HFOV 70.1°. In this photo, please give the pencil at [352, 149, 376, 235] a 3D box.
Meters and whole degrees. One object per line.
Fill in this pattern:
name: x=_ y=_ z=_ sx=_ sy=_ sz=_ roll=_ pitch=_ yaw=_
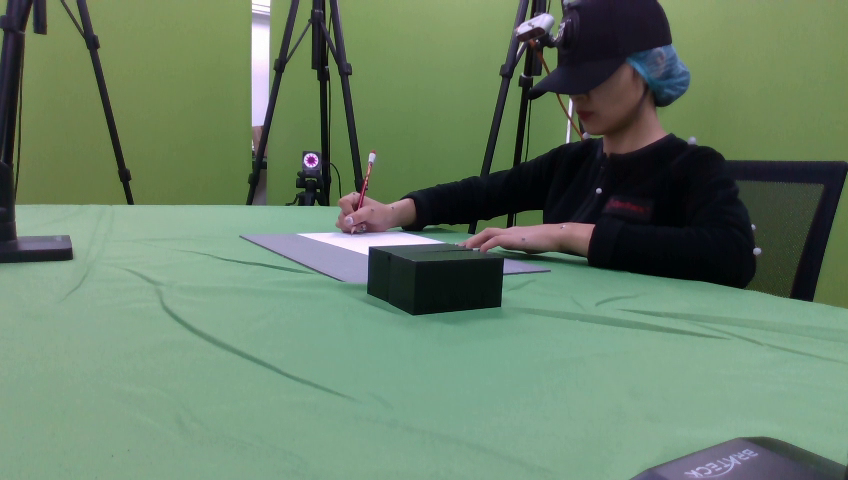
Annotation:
pencil: x=-0.112 y=-0.092 z=1.127 sx=0.012 sy=0.194 sz=0.012 roll=8 pitch=-30 yaw=5
